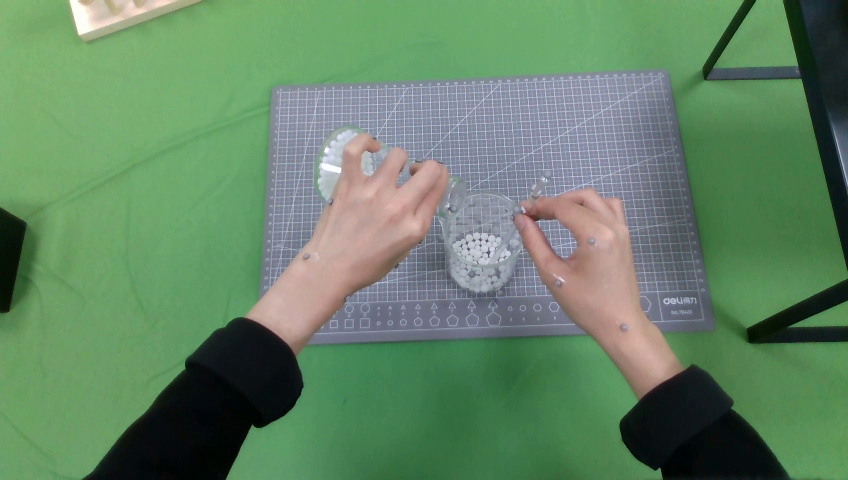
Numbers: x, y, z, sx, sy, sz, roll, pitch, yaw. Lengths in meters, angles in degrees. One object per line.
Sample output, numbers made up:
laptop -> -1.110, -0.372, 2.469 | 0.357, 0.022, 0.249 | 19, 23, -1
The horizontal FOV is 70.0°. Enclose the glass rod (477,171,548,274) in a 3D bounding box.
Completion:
glass rod -> 0.070, -0.008, 0.514 | 0.008, 0.200, 0.008 | 3, 66, -8

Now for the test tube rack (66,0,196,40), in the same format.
test tube rack -> -0.313, -0.327, 0.709 | 0.242, 0.086, 0.066 | -22, 71, -6

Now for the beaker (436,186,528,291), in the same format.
beaker -> 0.052, 0.003, 0.574 | 0.084, 0.101, 0.073 | 21, 72, 10

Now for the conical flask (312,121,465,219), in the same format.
conical flask -> -0.027, -0.052, 0.511 | 0.121, 0.076, 0.075 | 18, 72, 22
